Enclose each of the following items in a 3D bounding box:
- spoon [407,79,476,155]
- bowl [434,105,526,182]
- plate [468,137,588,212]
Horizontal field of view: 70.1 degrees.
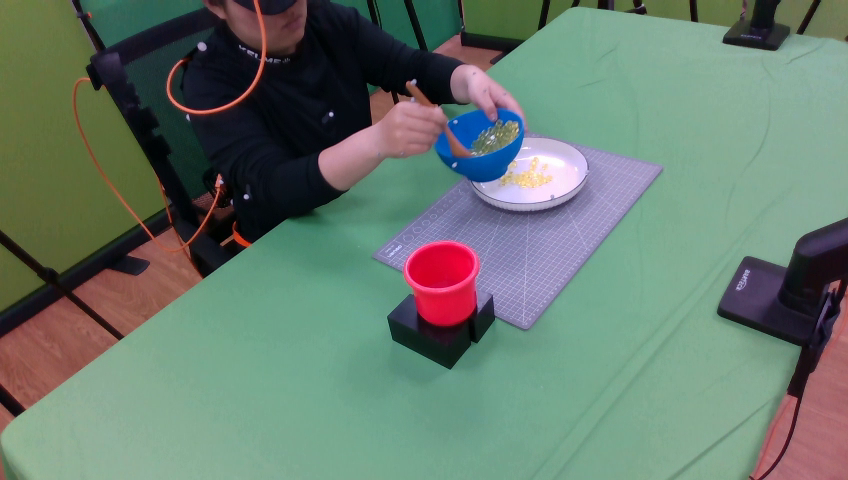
[{"bbox_3d":[0.029,-0.173,0.901,0.041,0.195,0.021,6,59,41],"label":"spoon"},{"bbox_3d":[0.099,-0.149,0.998,0.151,0.077,0.150,-11,39,10],"label":"bowl"},{"bbox_3d":[0.182,-0.112,1.064,0.207,0.039,0.206,-5,40,5],"label":"plate"}]
